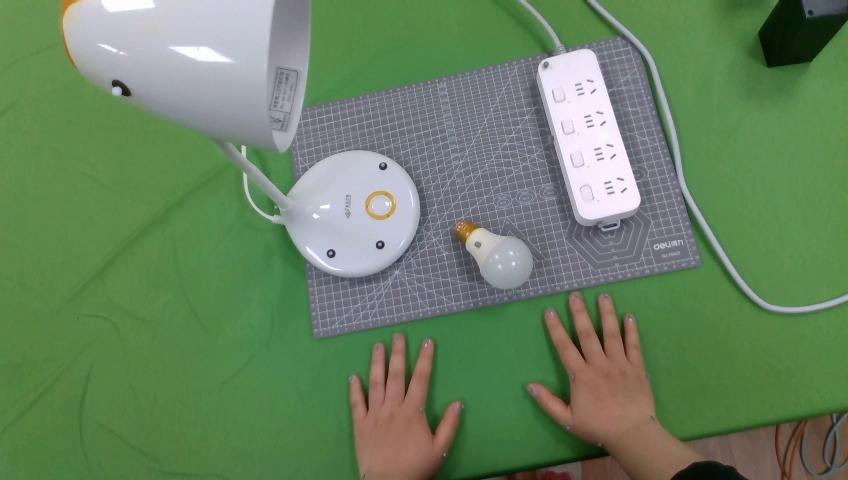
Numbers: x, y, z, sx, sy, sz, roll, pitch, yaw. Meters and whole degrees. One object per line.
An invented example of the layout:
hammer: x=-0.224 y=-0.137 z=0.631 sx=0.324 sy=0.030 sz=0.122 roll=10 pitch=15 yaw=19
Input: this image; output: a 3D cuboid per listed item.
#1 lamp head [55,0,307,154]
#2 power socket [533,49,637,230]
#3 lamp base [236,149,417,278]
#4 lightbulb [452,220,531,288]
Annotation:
lamp head: x=-0.133 y=-0.110 z=0.343 sx=0.123 sy=0.113 sz=0.112 roll=6 pitch=77 yaw=2
power socket: x=0.186 y=-0.123 z=0.710 sx=0.072 sy=0.033 sz=0.225 roll=-13 pitch=74 yaw=3
lamp base: x=-0.111 y=-0.049 z=0.655 sx=0.179 sy=0.181 sz=0.159 roll=-14 pitch=74 yaw=7
lightbulb: x=0.072 y=0.011 z=0.684 sx=0.106 sy=0.060 sz=0.059 roll=39 pitch=84 yaw=30
